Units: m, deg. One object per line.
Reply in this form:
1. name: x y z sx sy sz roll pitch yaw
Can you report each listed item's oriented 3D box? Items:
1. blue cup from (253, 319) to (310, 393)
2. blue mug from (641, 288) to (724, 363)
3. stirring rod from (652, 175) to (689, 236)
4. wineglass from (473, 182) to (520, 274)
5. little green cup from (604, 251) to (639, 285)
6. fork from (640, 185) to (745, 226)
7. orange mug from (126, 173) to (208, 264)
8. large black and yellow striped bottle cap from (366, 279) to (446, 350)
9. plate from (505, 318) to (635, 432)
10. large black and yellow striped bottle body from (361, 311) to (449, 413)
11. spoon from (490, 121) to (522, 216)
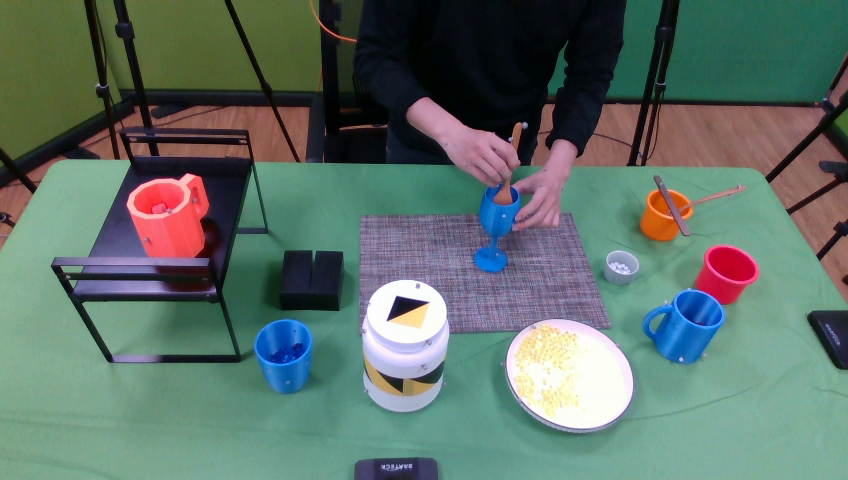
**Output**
1. blue cup: -0.217 0.187 0.943 0.093 0.101 0.092 4 45 -3
2. blue mug: 0.432 0.144 1.033 0.116 0.106 0.082 8 46 5
3. stirring rod: 0.491 -0.072 1.211 0.014 0.006 0.175 -1 47 -5
4. wineglass: 0.131 -0.021 1.116 0.074 0.173 0.073 2 46 -2
5. little green cup: 0.375 0.055 1.161 0.061 0.039 0.061 3 46 -2
6. fork: 0.534 -0.069 1.215 0.207 0.019 0.028 -26 27 33
7. orange mug: -0.371 -0.039 0.902 0.083 0.101 0.126 18 52 14
8. large black and yellow striped bottle cap: -0.025 0.104 0.864 0.115 0.019 0.114 3 48 -3
9. plate: 0.235 0.221 0.991 0.209 0.038 0.208 2 45 -2
10. large black and yellow striped bottle body: -0.031 0.163 0.924 0.131 0.185 0.130 2 46 -2
11. spoon: 0.142 -0.116 1.023 0.041 0.194 0.021 13 38 9
